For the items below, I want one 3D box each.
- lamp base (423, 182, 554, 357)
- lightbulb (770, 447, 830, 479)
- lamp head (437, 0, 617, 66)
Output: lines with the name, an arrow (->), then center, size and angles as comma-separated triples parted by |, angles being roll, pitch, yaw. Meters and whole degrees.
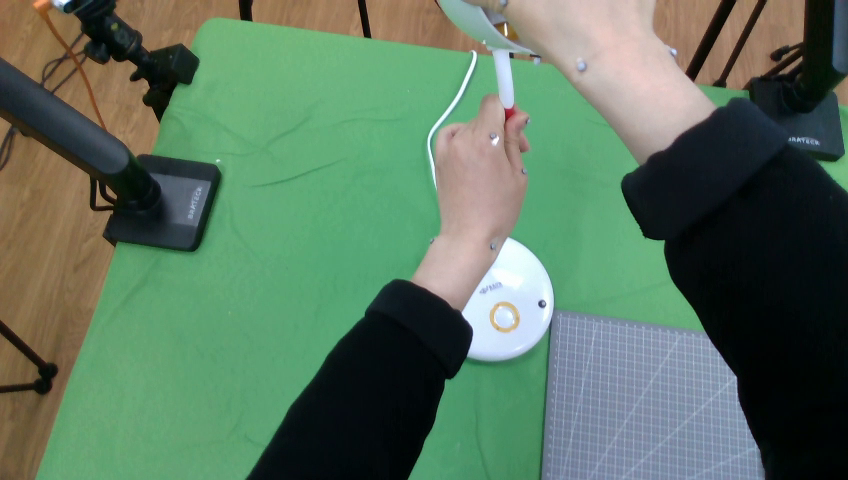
lamp base -> 0.073, 0.025, 0.670 | 0.160, 0.181, 0.178 | -31, 69, -14
lightbulb -> 0.418, 0.270, 0.651 | 0.059, 0.060, 0.106 | -28, 55, -12
lamp head -> 0.055, -0.177, 0.404 | 0.113, 0.122, 0.113 | -4, 101, -19
